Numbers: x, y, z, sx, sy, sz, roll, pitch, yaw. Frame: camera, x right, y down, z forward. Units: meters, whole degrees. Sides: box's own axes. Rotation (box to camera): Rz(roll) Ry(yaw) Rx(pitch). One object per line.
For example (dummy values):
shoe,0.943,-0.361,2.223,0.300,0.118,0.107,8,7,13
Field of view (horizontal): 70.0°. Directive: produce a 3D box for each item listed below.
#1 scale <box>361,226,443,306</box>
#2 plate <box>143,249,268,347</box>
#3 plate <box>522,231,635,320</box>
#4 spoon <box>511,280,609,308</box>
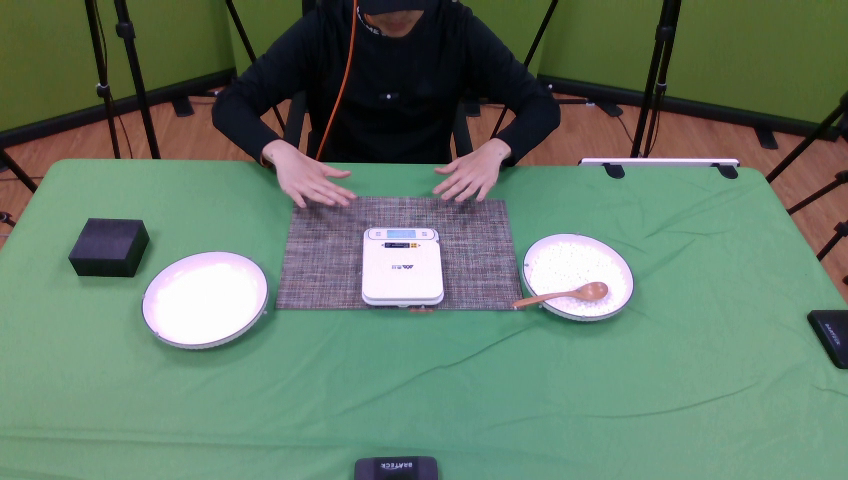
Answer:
scale,-0.042,0.040,1.143,0.149,0.032,0.199,0,46,-4
plate,-0.378,0.103,1.060,0.208,0.039,0.206,2,47,-2
plate,0.287,0.069,1.141,0.209,0.038,0.208,2,46,-2
spoon,0.245,0.098,1.088,0.194,0.022,0.041,-5,47,-19
